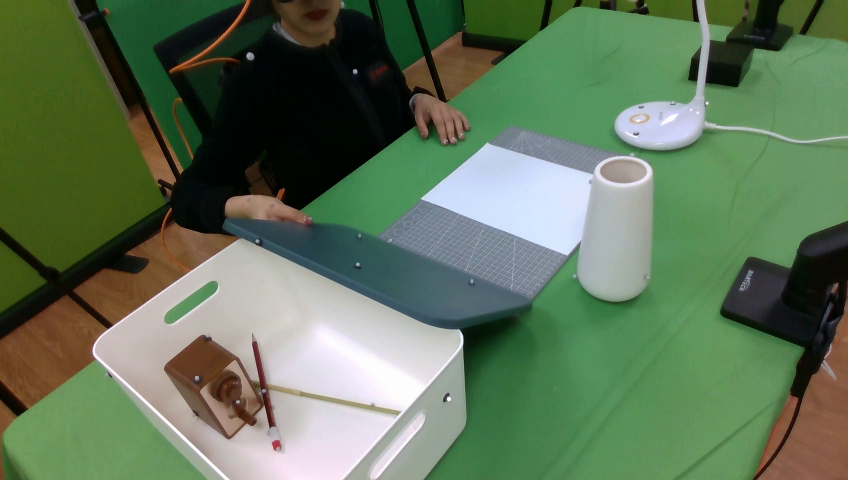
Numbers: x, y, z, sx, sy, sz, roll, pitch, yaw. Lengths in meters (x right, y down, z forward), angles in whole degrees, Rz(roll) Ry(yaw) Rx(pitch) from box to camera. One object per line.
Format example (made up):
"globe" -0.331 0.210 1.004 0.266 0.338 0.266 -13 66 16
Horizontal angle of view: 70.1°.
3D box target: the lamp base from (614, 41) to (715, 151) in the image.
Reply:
"lamp base" 0.449 -0.277 1.106 0.179 0.181 0.160 1 41 9

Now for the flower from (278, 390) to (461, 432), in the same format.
"flower" -0.122 0.203 0.771 0.360 0.038 0.044 2 77 22

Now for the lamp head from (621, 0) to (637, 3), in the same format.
"lamp head" 0.319 -0.453 0.962 0.113 0.123 0.112 20 33 -13

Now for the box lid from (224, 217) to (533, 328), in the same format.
"box lid" -0.059 0.033 0.811 0.368 0.015 0.265 21 10 30

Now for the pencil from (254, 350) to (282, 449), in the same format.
"pencil" -0.210 0.200 0.798 0.012 0.012 0.192 -20 36 -13

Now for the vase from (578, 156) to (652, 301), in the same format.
"vase" 0.261 -0.011 0.812 0.098 0.201 0.097 -4 40 4

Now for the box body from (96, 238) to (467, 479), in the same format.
"box body" -0.155 0.169 0.707 0.361 0.161 0.255 23 49 33

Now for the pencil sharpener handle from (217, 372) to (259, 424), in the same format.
"pencil sharpener handle" -0.214 0.187 0.709 0.030 0.068 0.036 22 46 32

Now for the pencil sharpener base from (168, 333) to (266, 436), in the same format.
"pencil sharpener base" -0.251 0.180 0.745 0.076 0.107 0.061 22 50 32
